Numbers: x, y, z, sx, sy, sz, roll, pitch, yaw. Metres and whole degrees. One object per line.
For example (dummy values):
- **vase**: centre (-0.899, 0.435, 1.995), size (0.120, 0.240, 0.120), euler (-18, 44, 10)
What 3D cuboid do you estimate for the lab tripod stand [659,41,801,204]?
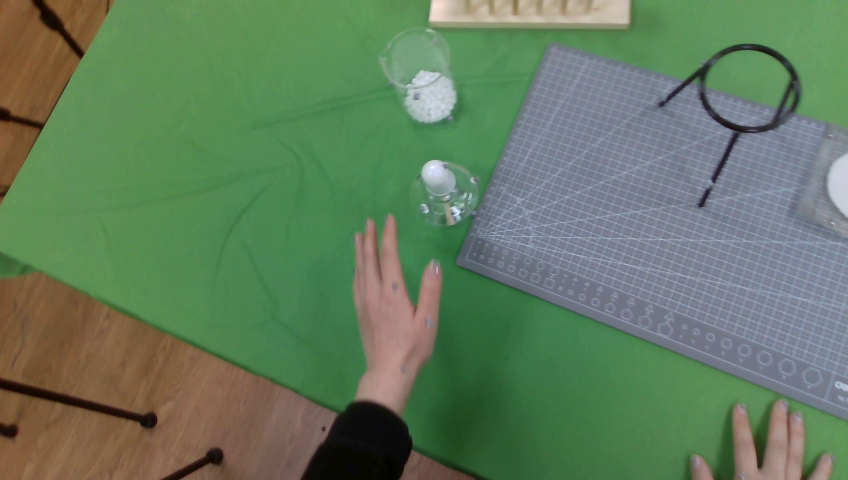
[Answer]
- **lab tripod stand**: centre (0.311, -0.123, 0.618), size (0.148, 0.132, 0.147), euler (-2, 77, 8)

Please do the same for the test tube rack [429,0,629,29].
- **test tube rack**: centre (0.124, -0.306, 0.722), size (0.242, 0.086, 0.066), euler (4, 77, 10)

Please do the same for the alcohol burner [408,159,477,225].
- **alcohol burner**: centre (0.018, -0.058, 0.663), size (0.078, 0.120, 0.077), euler (-2, 74, 7)

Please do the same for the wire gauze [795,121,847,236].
- **wire gauze**: centre (0.472, -0.054, 0.641), size (0.124, 0.011, 0.121), euler (26, 81, 12)

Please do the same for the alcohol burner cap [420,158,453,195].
- **alcohol burner cap**: centre (0.011, -0.068, 0.629), size (0.034, 0.048, 0.033), euler (-2, 79, 9)

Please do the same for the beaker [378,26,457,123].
- **beaker**: centre (-0.003, -0.187, 0.706), size (0.084, 0.101, 0.073), euler (8, 77, 12)
